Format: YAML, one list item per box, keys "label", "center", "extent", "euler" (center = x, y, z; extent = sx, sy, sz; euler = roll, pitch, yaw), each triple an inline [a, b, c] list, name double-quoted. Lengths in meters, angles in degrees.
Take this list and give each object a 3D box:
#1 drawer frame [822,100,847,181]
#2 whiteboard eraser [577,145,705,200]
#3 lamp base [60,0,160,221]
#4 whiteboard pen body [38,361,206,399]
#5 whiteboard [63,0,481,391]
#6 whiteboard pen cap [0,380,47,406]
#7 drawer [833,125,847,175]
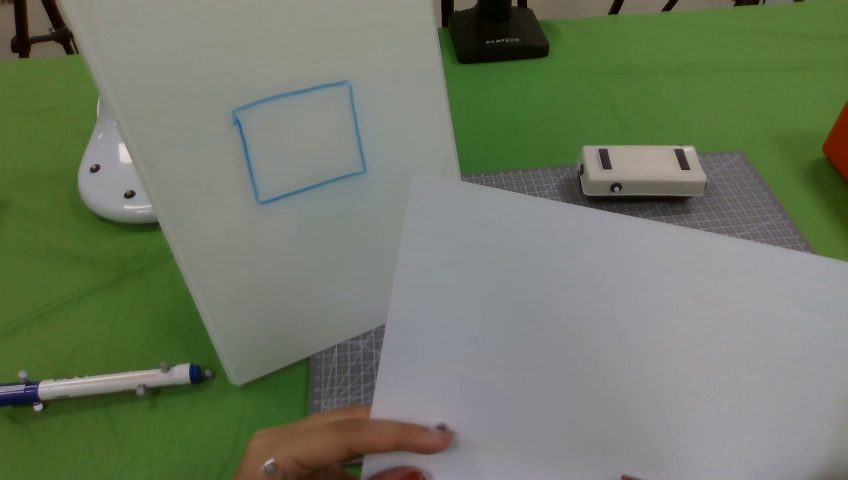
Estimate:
- label: "drawer frame"
  center: [0.518, -0.048, 0.543]
  extent: [0.202, 0.083, 0.211]
  euler: [-5, 46, -1]
- label: "whiteboard eraser"
  center: [0.210, -0.065, 0.592]
  extent: [0.112, 0.042, 0.055]
  euler: [0, 45, 2]
- label: "lamp base"
  center: [-0.285, -0.135, 0.581]
  extent: [0.178, 0.182, 0.160]
  euler: [25, 52, 27]
- label: "whiteboard pen body"
  center: [-0.239, 0.108, 0.458]
  extent: [0.141, 0.017, 0.017]
  euler: [-5, 46, -8]
- label: "whiteboard"
  center: [-0.101, -0.078, 0.476]
  extent: [0.217, 0.308, 0.142]
  euler: [-21, 30, -16]
- label: "whiteboard pen cap"
  center: [-0.298, 0.113, 0.450]
  extent: [0.033, 0.018, 0.018]
  euler: [-4, 46, -11]
- label: "drawer"
  center: [0.519, -0.043, 0.539]
  extent: [0.194, 0.074, 0.209]
  euler: [-3, 46, 0]
